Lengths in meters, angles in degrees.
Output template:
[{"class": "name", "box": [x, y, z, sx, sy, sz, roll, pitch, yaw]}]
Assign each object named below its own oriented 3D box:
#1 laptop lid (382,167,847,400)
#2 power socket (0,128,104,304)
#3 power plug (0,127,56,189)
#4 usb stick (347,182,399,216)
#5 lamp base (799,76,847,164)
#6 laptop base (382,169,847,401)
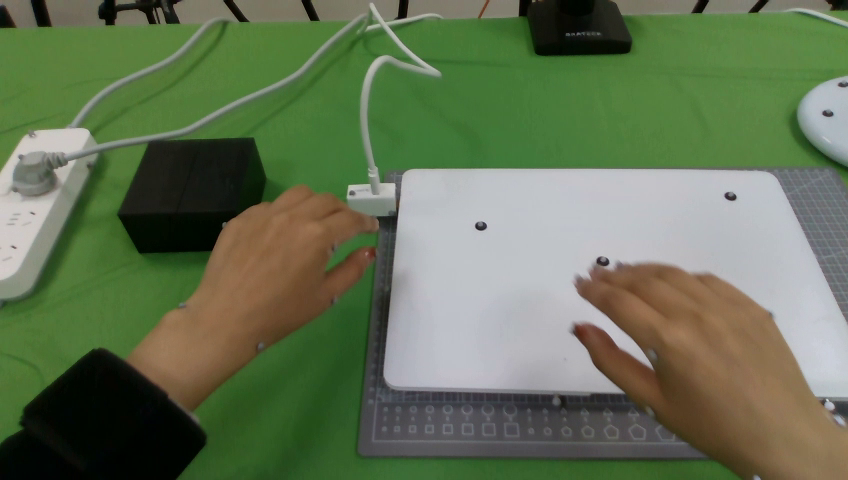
[{"class": "laptop lid", "box": [0.149, 0.021, 0.504, 0.356, 0.013, 0.239, 2, 50, 4]}, {"class": "power socket", "box": [-0.374, -0.033, 0.576, 0.072, 0.033, 0.224, -1, 47, -1]}, {"class": "power plug", "box": [-0.365, -0.080, 0.552, 0.053, 0.073, 0.035, 10, 30, -19]}, {"class": "usb stick", "box": [-0.041, -0.038, 0.563, 0.059, 0.027, 0.021, 1, 44, 0]}, {"class": "lamp base", "box": [0.482, -0.178, 0.581, 0.159, 0.182, 0.179, 27, 52, 24]}, {"class": "laptop base", "box": [0.149, 0.028, 0.514, 0.354, 0.023, 0.233, 1, 51, 3]}]
